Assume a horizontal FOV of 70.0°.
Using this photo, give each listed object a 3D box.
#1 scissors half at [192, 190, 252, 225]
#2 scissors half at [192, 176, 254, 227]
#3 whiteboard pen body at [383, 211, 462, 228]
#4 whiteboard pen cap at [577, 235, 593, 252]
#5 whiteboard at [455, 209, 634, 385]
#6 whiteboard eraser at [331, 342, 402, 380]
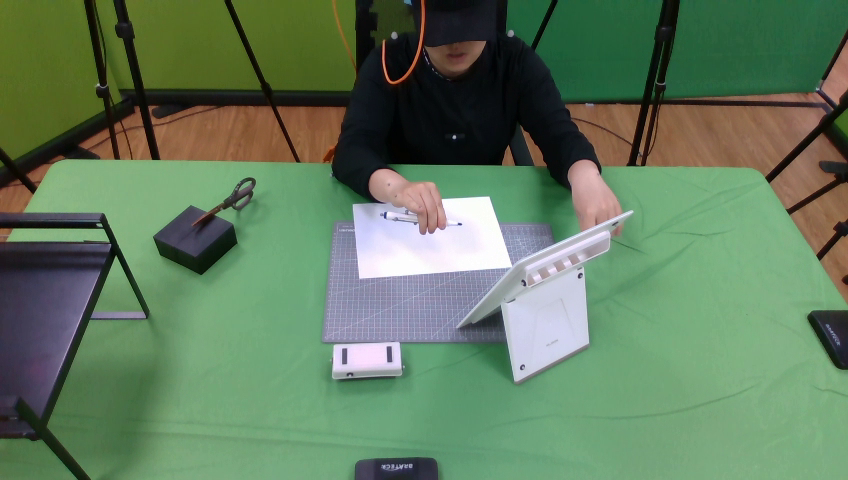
[{"bbox_3d":[-0.393,-0.060,1.187,0.013,0.040,0.175,25,29,12],"label":"scissors half"},{"bbox_3d":[-0.388,-0.075,1.175,0.013,0.040,0.174,29,47,8],"label":"scissors half"},{"bbox_3d":[-0.004,-0.035,1.061,0.141,0.017,0.017,8,46,6],"label":"whiteboard pen body"},{"bbox_3d":[0.306,0.007,1.152,0.018,0.033,0.018,25,32,-17],"label":"whiteboard pen cap"},{"bbox_3d":[0.211,0.111,0.955,0.217,0.306,0.143,-21,71,-23],"label":"whiteboard"},{"bbox_3d":[-0.094,0.198,0.986,0.113,0.042,0.055,-2,44,-6],"label":"whiteboard eraser"}]
